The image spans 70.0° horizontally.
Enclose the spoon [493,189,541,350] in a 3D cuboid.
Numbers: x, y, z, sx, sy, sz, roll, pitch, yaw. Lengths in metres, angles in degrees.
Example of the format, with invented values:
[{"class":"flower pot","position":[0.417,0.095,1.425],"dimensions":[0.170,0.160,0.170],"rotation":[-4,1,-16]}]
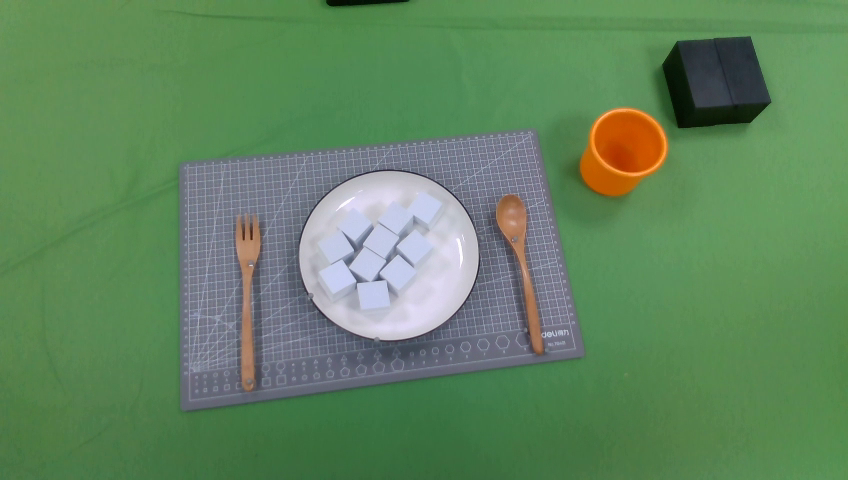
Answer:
[{"class":"spoon","position":[0.113,0.032,0.711],"dimensions":[0.042,0.022,0.192],"rotation":[-2,70,-21]}]

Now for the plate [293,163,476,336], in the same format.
[{"class":"plate","position":[-0.045,0.011,0.703],"dimensions":[0.208,0.039,0.206],"rotation":[1,71,-2]}]

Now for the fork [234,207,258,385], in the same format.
[{"class":"fork","position":[-0.203,0.060,0.688],"dimensions":[0.028,0.019,0.206],"rotation":[-3,69,-10]}]
